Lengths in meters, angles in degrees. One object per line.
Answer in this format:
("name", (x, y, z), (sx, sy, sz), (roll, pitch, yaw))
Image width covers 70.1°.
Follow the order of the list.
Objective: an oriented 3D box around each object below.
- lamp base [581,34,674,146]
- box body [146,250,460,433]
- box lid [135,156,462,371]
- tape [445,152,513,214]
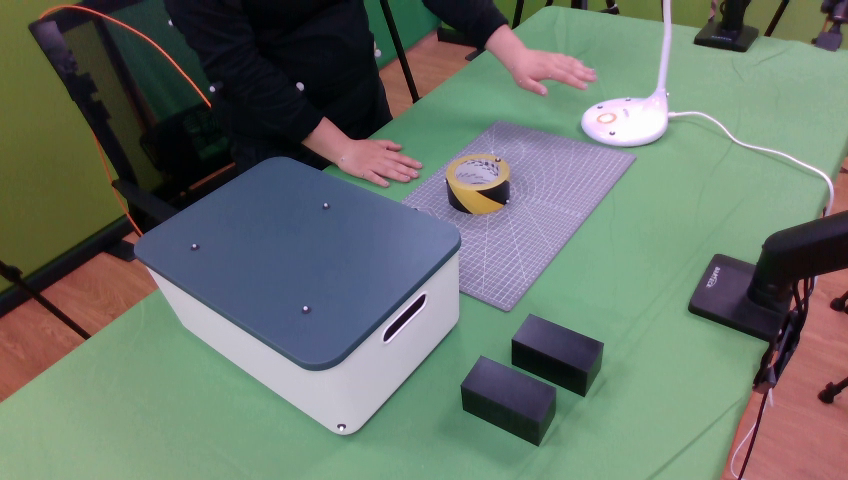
("lamp base", (0.392, -0.291, 1.129), (0.180, 0.181, 0.159), (-11, 41, -8))
("box body", (-0.156, 0.059, 0.815), (0.361, 0.161, 0.255), (24, 49, 31))
("box lid", (-0.162, 0.004, 0.765), (0.368, 0.015, 0.264), (23, 49, 31))
("tape", (0.095, -0.099, 1.042), (0.117, 0.053, 0.116), (-4, 41, 4))
